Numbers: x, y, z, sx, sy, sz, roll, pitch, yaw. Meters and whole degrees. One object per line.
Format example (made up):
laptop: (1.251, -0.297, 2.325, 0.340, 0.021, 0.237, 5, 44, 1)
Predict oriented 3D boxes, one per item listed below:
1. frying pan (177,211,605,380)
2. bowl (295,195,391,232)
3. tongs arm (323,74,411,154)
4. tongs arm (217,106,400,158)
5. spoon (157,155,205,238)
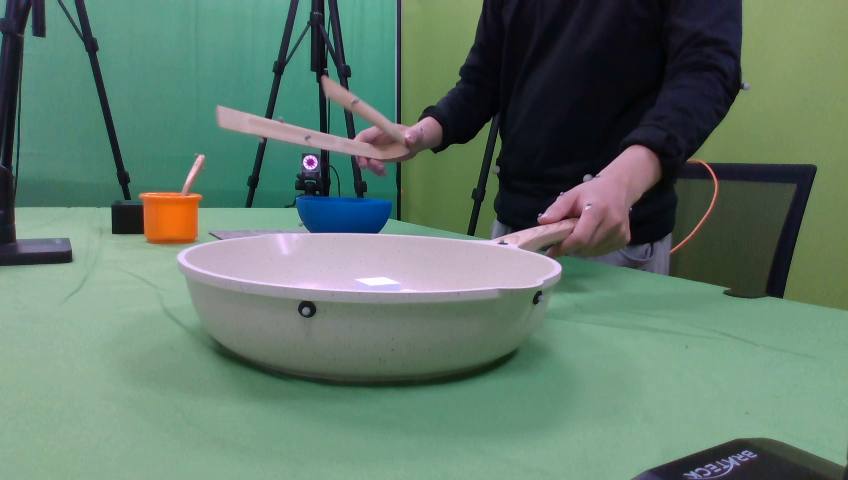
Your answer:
frying pan: (0.035, 0.019, 0.556, 0.490, 0.102, 0.305, -15, 18, -42)
bowl: (-0.127, -0.027, 0.946, 0.151, 0.077, 0.151, 2, 7, 0)
tongs arm: (-0.066, -0.160, 0.821, 0.028, 0.027, 0.388, -16, -4, 11)
tongs arm: (-0.135, -0.146, 0.843, 0.050, 0.026, 0.386, -14, -4, 22)
spoon: (-0.392, -0.076, 0.998, 0.041, 0.193, 0.021, 2, -37, 5)
